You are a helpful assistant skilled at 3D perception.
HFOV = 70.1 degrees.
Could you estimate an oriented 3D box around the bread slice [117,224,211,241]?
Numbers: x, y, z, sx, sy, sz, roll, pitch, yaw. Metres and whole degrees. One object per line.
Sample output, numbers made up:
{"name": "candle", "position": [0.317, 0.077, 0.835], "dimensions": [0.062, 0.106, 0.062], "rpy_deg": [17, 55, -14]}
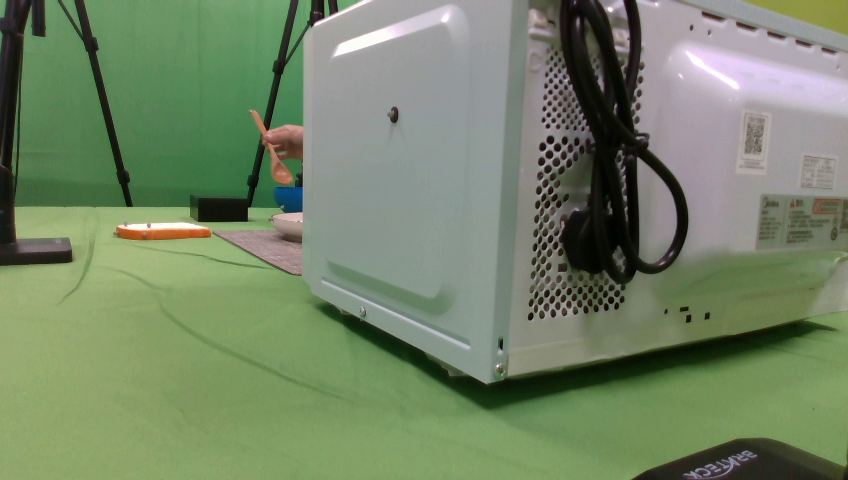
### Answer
{"name": "bread slice", "position": [-0.443, -0.015, 1.022], "dimensions": [0.132, 0.019, 0.104], "rpy_deg": [-3, 8, -45]}

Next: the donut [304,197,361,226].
{"name": "donut", "position": [-0.159, -0.050, 1.055], "dimensions": [0.099, 0.048, 0.099], "rpy_deg": [3, 8, 0]}

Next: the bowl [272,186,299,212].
{"name": "bowl", "position": [-0.254, -0.076, 1.317], "dimensions": [0.151, 0.077, 0.151], "rpy_deg": [2, 7, 0]}

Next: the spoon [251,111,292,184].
{"name": "spoon", "position": [-0.341, -0.206, 1.335], "dimensions": [0.042, 0.193, 0.021], "rpy_deg": [-18, -12, -32]}

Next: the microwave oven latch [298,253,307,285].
{"name": "microwave oven latch", "position": [-0.081, 0.027, 0.582], "dimensions": [0.079, 0.029, 0.030], "rpy_deg": [-1, 7, -32]}

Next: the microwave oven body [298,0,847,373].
{"name": "microwave oven body", "position": [0.151, -0.055, 0.542], "dimensions": [0.444, 0.260, 0.324], "rpy_deg": [-2, 7, -33]}

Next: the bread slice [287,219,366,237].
{"name": "bread slice", "position": [-0.170, -0.022, 1.056], "dimensions": [0.134, 0.018, 0.107], "rpy_deg": [2, 7, -6]}

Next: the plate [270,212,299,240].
{"name": "plate", "position": [-0.162, -0.022, 1.057], "dimensions": [0.208, 0.039, 0.207], "rpy_deg": [2, 7, 0]}

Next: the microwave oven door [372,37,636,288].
{"name": "microwave oven door", "position": [0.109, -0.080, 0.686], "dimensions": [0.358, 0.243, 0.039], "rpy_deg": [-2, 9, -33]}
